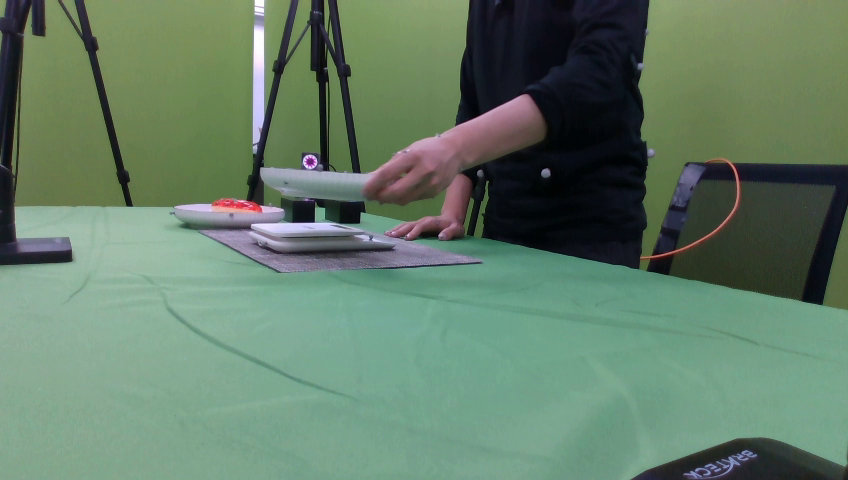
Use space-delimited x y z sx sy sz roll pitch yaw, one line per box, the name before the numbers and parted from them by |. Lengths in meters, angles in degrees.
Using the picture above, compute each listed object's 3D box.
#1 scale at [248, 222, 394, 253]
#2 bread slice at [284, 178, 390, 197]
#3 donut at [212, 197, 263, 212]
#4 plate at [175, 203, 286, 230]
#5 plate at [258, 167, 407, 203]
scale | -0.162 -0.006 0.954 0.202 0.031 0.148 -2 9 -32
bread slice | -0.126 -0.074 0.850 0.132 0.019 0.104 1 5 -34
donut | -0.376 -0.061 1.220 0.099 0.048 0.099 5 4 0
plate | -0.380 -0.047 1.199 0.208 0.039 0.207 2 7 0
plate | -0.128 -0.077 0.855 0.209 0.038 0.209 4 5 0
